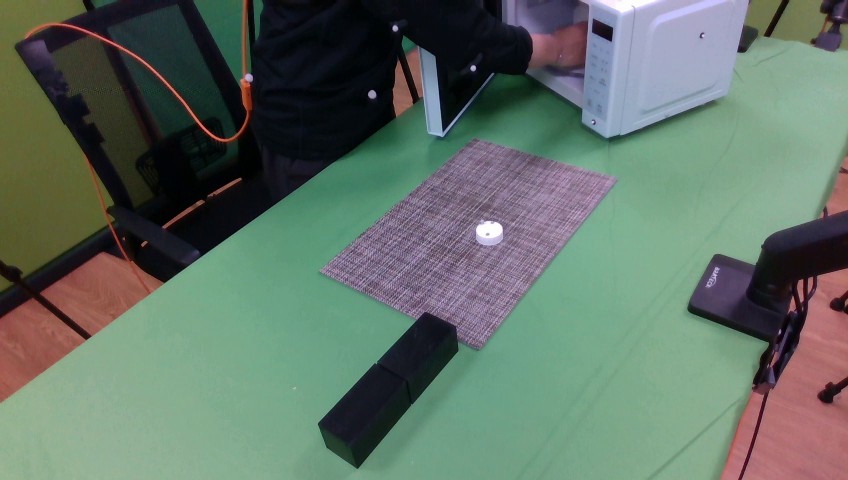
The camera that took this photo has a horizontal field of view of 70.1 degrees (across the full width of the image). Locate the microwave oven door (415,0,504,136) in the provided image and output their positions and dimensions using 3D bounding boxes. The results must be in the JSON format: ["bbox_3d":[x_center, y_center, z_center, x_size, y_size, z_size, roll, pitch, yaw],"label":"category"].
[{"bbox_3d":[0.085,-0.409,1.239,0.039,0.245,0.356,13,45,23],"label":"microwave oven door"}]

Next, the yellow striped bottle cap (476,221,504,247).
[{"bbox_3d":[0.105,-0.010,0.966,0.044,0.019,0.044,-4,39,4],"label":"yellow striped bottle cap"}]

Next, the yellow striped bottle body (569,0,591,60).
[{"bbox_3d":[0.336,-0.447,1.267,0.063,0.121,0.062,-8,43,8],"label":"yellow striped bottle body"}]

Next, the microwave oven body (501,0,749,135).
[{"bbox_3d":[0.382,-0.444,1.246,0.327,0.261,0.437,-22,42,-16],"label":"microwave oven body"}]

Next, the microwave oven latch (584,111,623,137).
[{"bbox_3d":[0.337,-0.222,1.142,0.030,0.029,0.078,-21,42,-14],"label":"microwave oven latch"}]
